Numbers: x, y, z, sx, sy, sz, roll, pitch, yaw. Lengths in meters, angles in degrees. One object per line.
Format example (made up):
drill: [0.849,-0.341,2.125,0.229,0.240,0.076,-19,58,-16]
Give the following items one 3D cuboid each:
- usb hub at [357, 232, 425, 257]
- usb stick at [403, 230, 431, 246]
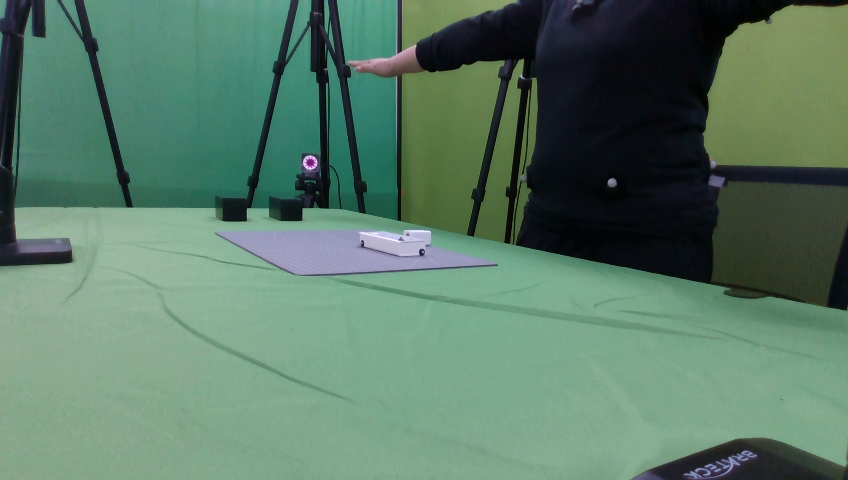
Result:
usb hub: [-0.055,0.005,0.947,0.050,0.025,0.124,-3,9,-36]
usb stick: [-0.019,-0.003,1.020,0.059,0.027,0.021,-6,15,-34]
